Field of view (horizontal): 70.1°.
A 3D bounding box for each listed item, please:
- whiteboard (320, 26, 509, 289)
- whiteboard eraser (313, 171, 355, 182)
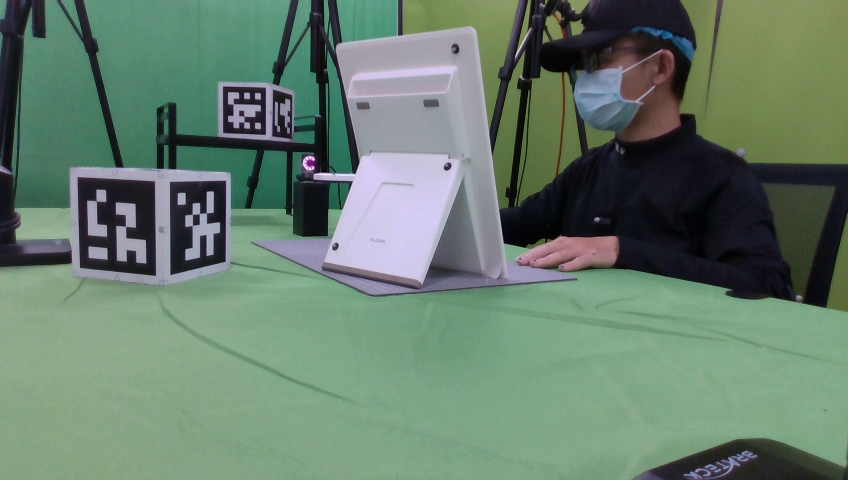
[{"bbox_3d":[-0.045,-0.076,0.721,0.216,0.305,0.144,9,29,39],"label":"whiteboard"},{"bbox_3d":[-0.166,-0.122,1.165,0.102,0.019,0.041,-2,7,-34],"label":"whiteboard eraser"}]
